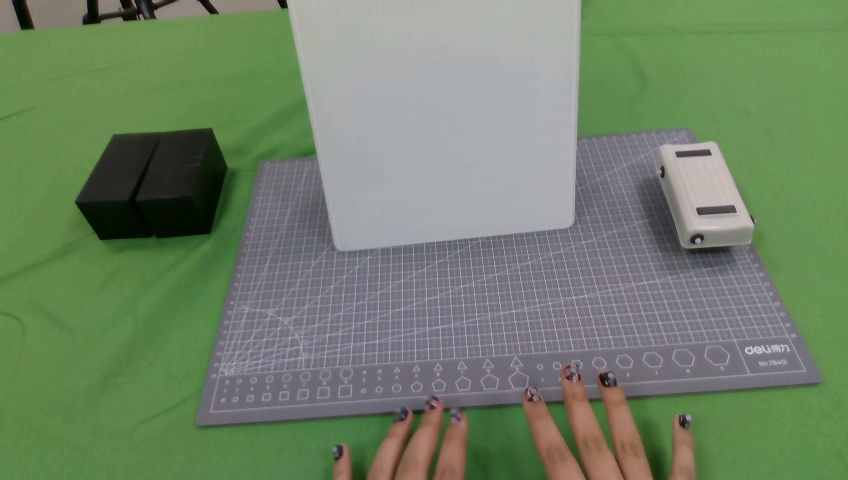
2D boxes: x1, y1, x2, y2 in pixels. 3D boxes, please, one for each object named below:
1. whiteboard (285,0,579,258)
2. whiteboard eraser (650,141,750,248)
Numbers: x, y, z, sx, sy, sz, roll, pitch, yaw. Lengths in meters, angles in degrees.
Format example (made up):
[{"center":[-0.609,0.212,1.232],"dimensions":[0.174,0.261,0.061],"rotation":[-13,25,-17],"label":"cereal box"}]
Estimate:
[{"center":[0.010,-0.161,0.527],"dimensions":[0.217,0.308,0.142],"rotation":[-5,28,1],"label":"whiteboard"},{"center":[0.239,-0.039,0.531],"dimensions":[0.055,0.042,0.111],"rotation":[-2,47,4],"label":"whiteboard eraser"}]
